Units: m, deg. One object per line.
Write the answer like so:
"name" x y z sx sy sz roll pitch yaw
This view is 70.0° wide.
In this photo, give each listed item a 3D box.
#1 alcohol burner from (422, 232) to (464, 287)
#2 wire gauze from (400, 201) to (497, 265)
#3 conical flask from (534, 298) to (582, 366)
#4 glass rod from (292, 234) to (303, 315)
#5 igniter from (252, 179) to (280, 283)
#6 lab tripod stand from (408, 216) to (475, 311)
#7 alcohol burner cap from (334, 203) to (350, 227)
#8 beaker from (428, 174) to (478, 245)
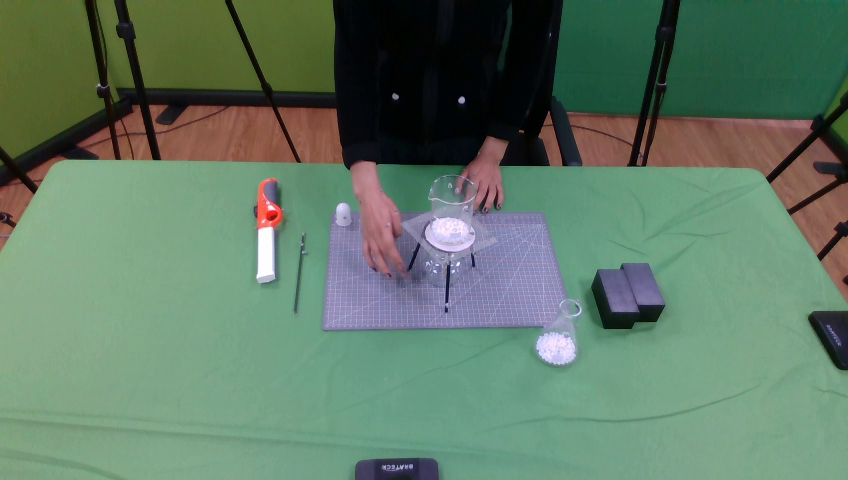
"alcohol burner" 0.035 0.030 1.107 0.078 0.120 0.077 1 47 -1
"wire gauze" 0.042 -0.013 1.043 0.125 0.011 0.120 -24 49 -23
"conical flask" 0.229 0.149 1.005 0.075 0.122 0.075 2 46 -2
"glass rod" -0.236 0.059 1.133 0.008 0.008 0.198 -1 46 -4
"igniter" -0.313 -0.027 1.197 0.057 0.025 0.274 -12 47 -1
"lab tripod stand" 0.040 0.030 1.093 0.148 0.132 0.147 2 44 -2
"alcohol burner cap" -0.166 -0.053 1.220 0.034 0.048 0.033 2 46 -2
"beaker" 0.043 -0.047 1.009 0.084 0.101 0.073 -16 48 -19
